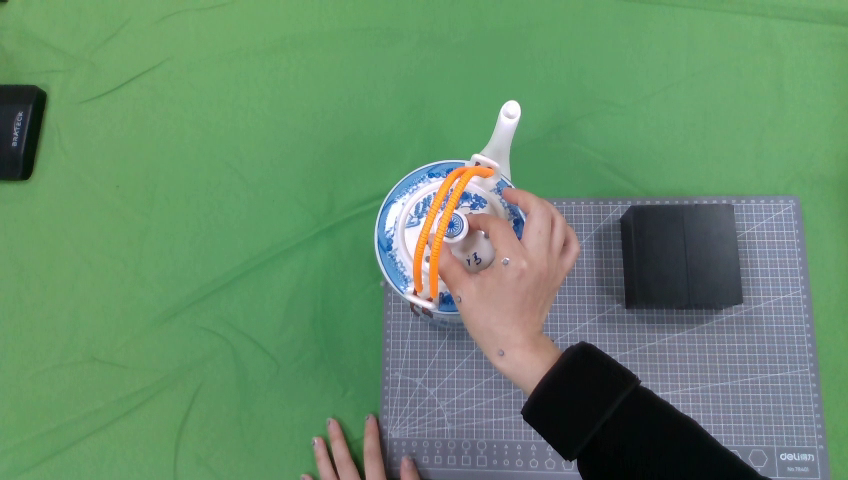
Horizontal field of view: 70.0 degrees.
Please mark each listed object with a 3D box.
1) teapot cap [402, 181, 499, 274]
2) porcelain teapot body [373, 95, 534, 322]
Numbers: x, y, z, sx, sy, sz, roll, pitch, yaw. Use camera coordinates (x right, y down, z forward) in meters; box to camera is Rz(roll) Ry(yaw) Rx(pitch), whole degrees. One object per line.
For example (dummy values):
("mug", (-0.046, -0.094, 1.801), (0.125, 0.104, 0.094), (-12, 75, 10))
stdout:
("teapot cap", (0.022, -0.012, 0.522), (0.085, 0.044, 0.084), (-2, 75, 7))
("porcelain teapot body", (0.038, -0.030, 0.564), (0.145, 0.226, 0.205), (22, 81, 9))
